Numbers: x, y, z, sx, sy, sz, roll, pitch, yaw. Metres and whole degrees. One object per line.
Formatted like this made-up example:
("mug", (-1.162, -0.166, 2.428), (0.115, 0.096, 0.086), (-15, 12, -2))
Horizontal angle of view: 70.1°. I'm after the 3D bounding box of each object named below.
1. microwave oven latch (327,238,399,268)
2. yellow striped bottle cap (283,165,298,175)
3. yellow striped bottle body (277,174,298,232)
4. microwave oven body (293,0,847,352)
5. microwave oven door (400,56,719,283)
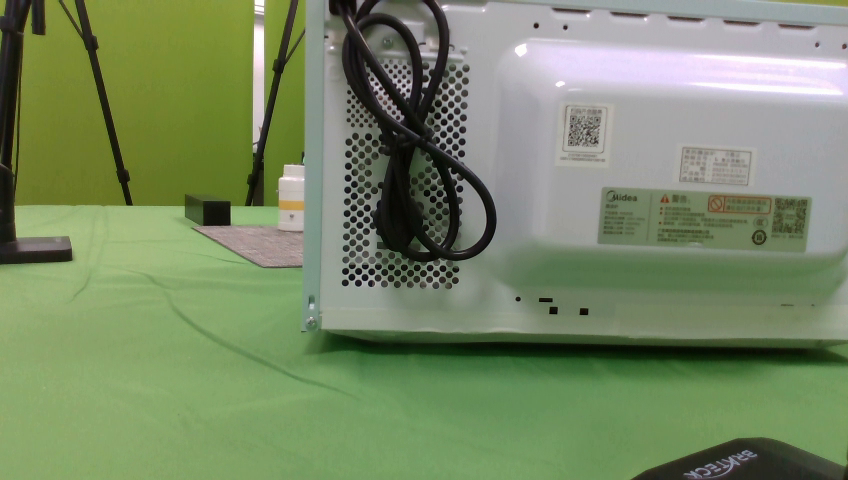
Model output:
("microwave oven latch", (-0.069, 0.015, 0.694), (0.079, 0.029, 0.030), (3, 7, -3))
("yellow striped bottle cap", (-0.240, -0.129, 1.124), (0.044, 0.018, 0.044), (5, 7, 0))
("yellow striped bottle body", (-0.242, -0.078, 1.130), (0.063, 0.120, 0.063), (2, 8, 0))
("microwave oven body", (0.122, -0.055, 0.550), (0.442, 0.260, 0.325), (3, 7, -5))
("microwave oven door", (0.155, -0.078, 0.698), (0.356, 0.243, 0.039), (2, 8, -5))
